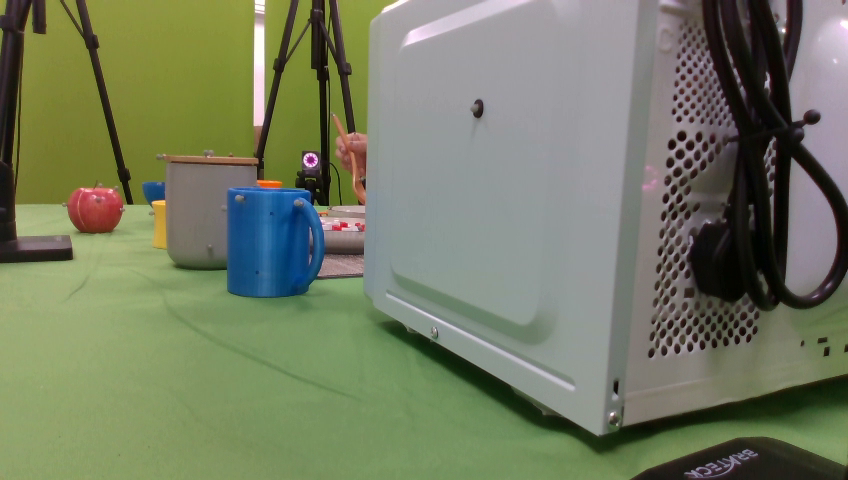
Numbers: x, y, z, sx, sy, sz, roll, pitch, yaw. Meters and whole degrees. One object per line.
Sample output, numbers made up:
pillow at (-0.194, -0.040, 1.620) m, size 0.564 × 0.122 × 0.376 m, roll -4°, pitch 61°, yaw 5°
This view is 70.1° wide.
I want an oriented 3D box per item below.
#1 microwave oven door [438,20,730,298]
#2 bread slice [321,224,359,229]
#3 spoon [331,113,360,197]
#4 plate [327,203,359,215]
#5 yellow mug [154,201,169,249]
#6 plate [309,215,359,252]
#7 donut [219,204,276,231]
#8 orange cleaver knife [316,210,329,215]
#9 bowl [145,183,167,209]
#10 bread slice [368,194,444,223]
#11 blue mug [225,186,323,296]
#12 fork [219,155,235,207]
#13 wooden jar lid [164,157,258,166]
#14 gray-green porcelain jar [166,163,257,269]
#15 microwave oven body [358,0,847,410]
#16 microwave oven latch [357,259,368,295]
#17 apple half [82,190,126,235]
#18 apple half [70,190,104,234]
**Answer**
microwave oven door at (0.181, -0.076, 0.618) m, size 0.358 × 0.243 × 0.039 m, roll -2°, pitch 8°, yaw -28°
bread slice at (-0.125, -0.009, 0.938) m, size 0.131 × 0.019 × 0.105 m, roll 6°, pitch 9°, yaw 32°
spoon at (-0.124, -0.141, 1.032) m, size 0.021 × 0.193 × 0.042 m, roll -27°, pitch -22°, yaw 20°
plate at (-0.102, -0.053, 1.299) m, size 0.209 × 0.038 × 0.209 m, roll 2°, pitch 8°, yaw 0°
yellow mug at (-0.338, -0.022, 0.899) m, size 0.130 × 0.064 × 0.100 m, roll 8°, pitch 9°, yaw 34°
plate at (-0.130, -0.011, 0.945) m, size 0.208 × 0.039 × 0.207 m, roll 2°, pitch 8°, yaw 0°
donut at (-0.316, -0.039, 1.083) m, size 0.099 × 0.048 × 0.099 m, roll 3°, pitch 7°, yaw 0°
orange cleaver knife at (-0.259, -0.064, 1.423) m, size 0.212 × 0.012 × 0.077 m, roll -4°, pitch 3°, yaw -30°
bowl at (-0.459, -0.068, 1.175) m, size 0.151 × 0.077 × 0.151 m, roll 3°, pitch 7°, yaw 0°
bread slice at (-0.040, -0.058, 1.142) m, size 0.107 × 0.018 × 0.134 m, roll -8°, pitch -9°, yaw -40°
blue mug at (-0.148, 0.000, 0.618) m, size 0.116 × 0.106 × 0.083 m, roll 7°, pitch 9°, yaw 33°
fork at (-0.459, -0.134, 1.415) m, size 0.028 × 0.018 × 0.207 m, roll -1°, pitch -34°, yaw -24°
wooden jar lid at (-0.261, -0.093, 0.746) m, size 0.108 × 0.020 × 0.108 m, roll 0°, pitch 9°, yaw 0°
gray-green porcelain jar at (-0.263, -0.031, 0.754) m, size 0.106 × 0.126 × 0.106 m, roll 2°, pitch 7°, yaw 0°
microwave oven body at (0.210, -0.051, 0.471) m, size 0.444 × 0.260 × 0.324 m, roll -1°, pitch 7°, yaw -28°
microwave oven latch at (-0.019, 0.031, 0.529) m, size 0.079 × 0.029 × 0.030 m, roll -1°, pitch 7°, yaw -26°
apple half at (-0.517, -0.046, 0.994) m, size 0.032 × 0.081 × 0.081 m, roll 0°, pitch 6°, yaw 26°
apple half at (-0.552, -0.047, 1.010) m, size 0.053 × 0.074 × 0.081 m, roll -1°, pitch 9°, yaw 26°
